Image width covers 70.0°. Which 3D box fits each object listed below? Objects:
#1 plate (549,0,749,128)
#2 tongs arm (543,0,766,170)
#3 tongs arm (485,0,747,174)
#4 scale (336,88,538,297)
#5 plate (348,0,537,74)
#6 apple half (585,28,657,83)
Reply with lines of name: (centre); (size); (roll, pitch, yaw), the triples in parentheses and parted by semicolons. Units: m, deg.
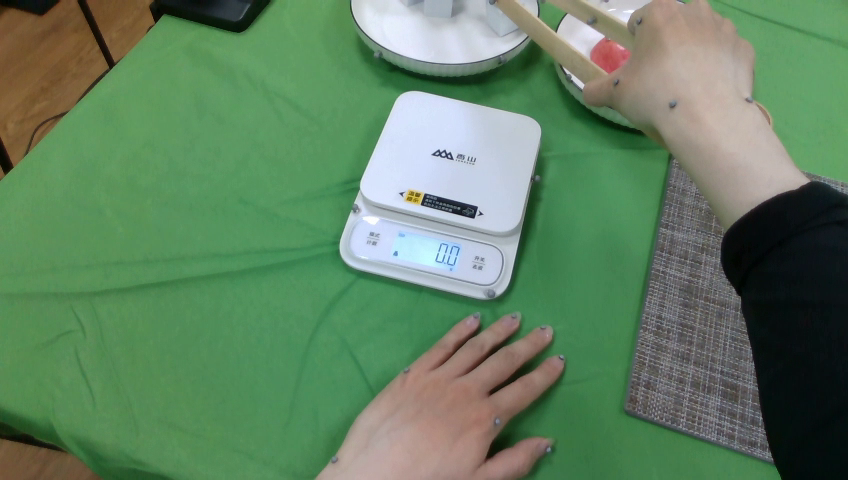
plate: (0.234, -0.190, 0.647); (0.209, 0.038, 0.207); (1, 56, -2)
tongs arm: (0.147, -0.178, 0.529); (0.051, 0.027, 0.380); (-29, 47, -10)
tongs arm: (0.126, -0.168, 0.527); (0.028, 0.028, 0.383); (-23, 47, -9)
scale: (0.018, -0.051, 0.547); (0.148, 0.032, 0.199); (13, 57, 6)
plate: (0.021, -0.254, 0.679); (0.208, 0.039, 0.205); (1, 56, -1)
apple half: (0.218, -0.205, 0.650); (0.081, 0.033, 0.080); (0, 53, 0)
